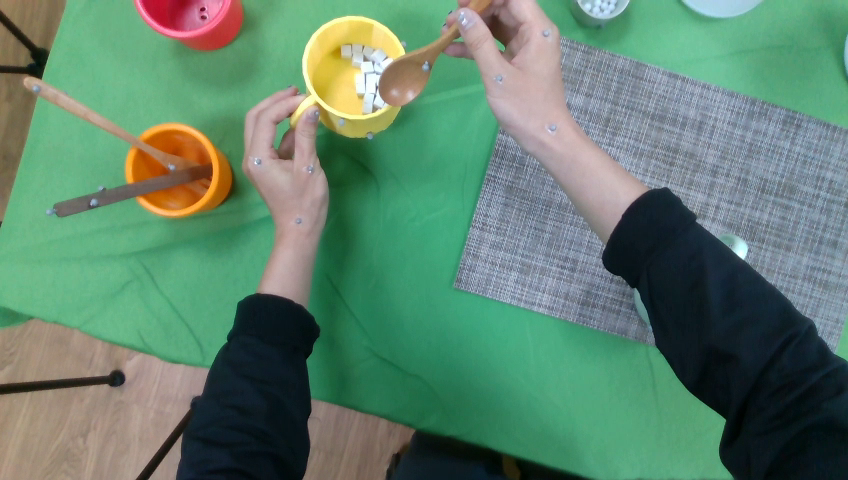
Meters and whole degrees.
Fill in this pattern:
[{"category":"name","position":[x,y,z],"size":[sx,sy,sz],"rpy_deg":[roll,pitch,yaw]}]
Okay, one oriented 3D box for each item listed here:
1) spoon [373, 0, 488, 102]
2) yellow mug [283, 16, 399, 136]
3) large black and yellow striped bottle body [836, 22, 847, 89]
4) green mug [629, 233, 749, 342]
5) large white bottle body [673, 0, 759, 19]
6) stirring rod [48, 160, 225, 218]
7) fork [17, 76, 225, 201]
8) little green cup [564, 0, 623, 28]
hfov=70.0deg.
[{"category":"spoon","position":[0.020,-0.173,0.494],"size":[0.042,0.193,0.021],"rpy_deg":[24,55,-30]},{"category":"yellow mug","position":[-0.085,-0.151,0.599],"size":[0.131,0.064,0.100],"rpy_deg":[-38,92,-8]},{"category":"large black and yellow striped bottle body","position":[0.540,-0.212,0.613],"size":[0.131,0.184,0.130],"rpy_deg":[0,91,-2]},{"category":"green mug","position":[0.286,0.047,0.643],"size":[0.092,0.105,0.125],"rpy_deg":[33,90,-2]},{"category":"large white bottle body","position":[0.328,-0.313,0.598],"size":[0.131,0.184,0.130],"rpy_deg":[0,91,-2]},{"category":"stirring rod","position":[-0.274,-0.053,0.596],"size":[0.176,0.006,0.014],"rpy_deg":[-26,95,-44]},{"category":"fork","position":[-0.284,-0.094,0.588],"size":[0.209,0.018,0.028],"rpy_deg":[35,85,-46]},{"category":"little green cup","position":[0.184,-0.264,0.665],"size":[0.061,0.038,0.061],"rpy_deg":[0,92,-2]}]
